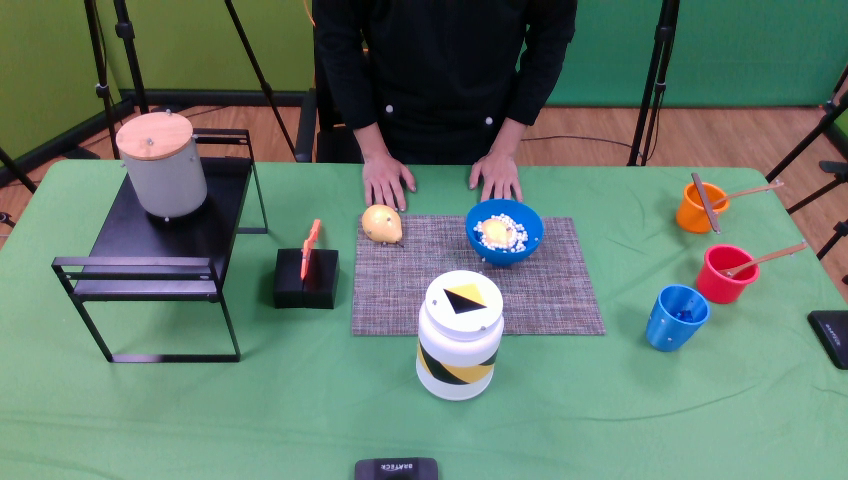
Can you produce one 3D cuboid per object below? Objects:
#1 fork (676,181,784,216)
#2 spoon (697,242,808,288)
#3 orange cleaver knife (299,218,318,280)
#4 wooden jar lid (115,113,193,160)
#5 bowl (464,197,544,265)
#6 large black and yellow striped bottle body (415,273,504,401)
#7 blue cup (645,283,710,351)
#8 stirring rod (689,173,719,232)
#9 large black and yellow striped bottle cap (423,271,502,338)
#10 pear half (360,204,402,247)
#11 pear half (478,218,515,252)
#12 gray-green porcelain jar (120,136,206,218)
[{"bbox_3d":[0.618,-0.083,1.235,0.207,0.019,0.028,-23,21,38],"label":"fork"},{"bbox_3d":[0.601,0.045,1.116,0.194,0.022,0.041,-29,34,30],"label":"spoon"},{"bbox_3d":[-0.214,0.013,1.125,0.012,0.077,0.210,6,17,-5],"label":"orange cleaver knife"},{"bbox_3d":[-0.399,-0.151,0.900,0.108,0.021,0.107,3,46,-3],"label":"wooden jar lid"},{"bbox_3d":[0.149,-0.004,1.167,0.151,0.077,0.150,2,46,-2],"label":"bowl"},{"bbox_3d":[0.054,0.150,0.943,0.131,0.185,0.130,2,46,-2],"label":"large black and yellow striped bottle body"},{"bbox_3d":[0.426,0.139,1.041,0.093,0.100,0.092,4,46,-4],"label":"blue cup"},{"bbox_3d":[0.566,-0.079,1.225,0.014,0.006,0.175,2,45,2],"label":"stirring rod"},{"bbox_3d":[0.057,0.092,0.883,0.115,0.019,0.114,3,45,-3],"label":"large black and yellow striped bottle cap"},{"bbox_3d":[-0.077,-0.028,1.195,0.076,0.056,0.109,-36,61,-25],"label":"pear half"},{"bbox_3d":[0.144,-0.013,1.167,0.070,0.031,0.087,-20,55,-20],"label":"pear half"},{"bbox_3d":[-0.402,-0.106,0.946,0.106,0.127,0.105,3,46,-2],"label":"gray-green porcelain jar"}]
